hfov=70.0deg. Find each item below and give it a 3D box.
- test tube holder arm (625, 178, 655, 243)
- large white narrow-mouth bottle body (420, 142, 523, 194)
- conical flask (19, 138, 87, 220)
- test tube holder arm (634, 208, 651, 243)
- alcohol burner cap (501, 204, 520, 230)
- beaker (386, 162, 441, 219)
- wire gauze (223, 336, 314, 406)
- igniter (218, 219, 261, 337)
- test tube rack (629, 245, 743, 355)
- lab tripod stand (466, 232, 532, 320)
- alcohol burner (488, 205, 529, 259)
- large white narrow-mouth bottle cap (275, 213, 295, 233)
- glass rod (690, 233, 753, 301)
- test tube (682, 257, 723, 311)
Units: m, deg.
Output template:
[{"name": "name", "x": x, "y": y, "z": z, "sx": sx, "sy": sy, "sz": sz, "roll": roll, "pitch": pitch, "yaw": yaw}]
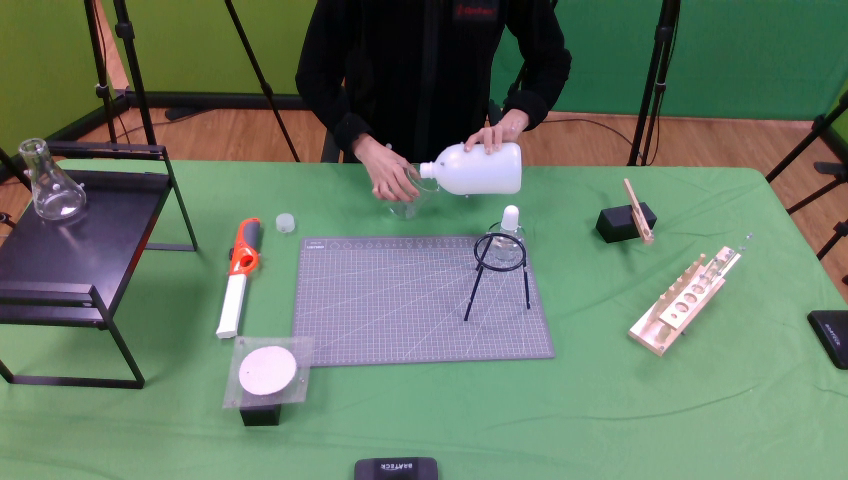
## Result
[{"name": "test tube holder arm", "x": 0.433, "y": -0.062, "z": 1.220, "sx": 0.013, "sy": 0.015, "sz": 0.177, "roll": 1, "pitch": 47, "yaw": -3}, {"name": "large white narrow-mouth bottle body", "x": 0.090, "y": -0.138, "z": 1.169, "sx": 0.194, "sy": 0.102, "sz": 0.101, "roll": -1, "pitch": 46, "yaw": 5}, {"name": "conical flask", "x": -0.576, "y": -0.097, "z": 0.930, "sx": 0.075, "sy": 0.122, "sz": 0.075, "roll": 2, "pitch": 46, "yaw": -2}, {"name": "test tube holder arm", "x": 0.428, "y": -0.030, "z": 1.189, "sx": 0.010, "sy": 0.015, "sz": 0.087, "roll": 1, "pitch": 47, "yaw": -2}, {"name": "alcohol burner cap", "x": 0.164, "y": -0.046, "z": 1.133, "sx": 0.034, "sy": 0.048, "sz": 0.033, "roll": 2, "pitch": 40, "yaw": -1}, {"name": "beaker", "x": -0.024, "y": -0.096, "z": 1.224, "sx": 0.084, "sy": 0.100, "sz": 0.073, "roll": 33, "pitch": 40, "yaw": -11}, {"name": "wire gauze", "x": -0.237, "y": 0.197, "z": 0.931, "sx": 0.121, "sy": 0.011, "sz": 0.124, "roll": 1, "pitch": 45, "yaw": -4}, {"name": "igniter", "x": -0.336, "y": 0.059, "z": 1.111, "sx": 0.057, "sy": 0.025, "sz": 0.274, "roll": -8, "pitch": 46, "yaw": 3}, {"name": "test tube rack", "x": 0.474, "y": 0.095, "z": 1.091, "sx": 0.242, "sy": 0.085, "sz": 0.066, "roll": -34, "pitch": 56, "yaw": -31}, {"name": "lab tripod stand", "x": 0.125, "y": 0.059, "z": 1.065, "sx": 0.148, "sy": 0.132, "sz": 0.147, "roll": 1, "pitch": 45, "yaw": 0}, {"name": "alcohol burner", "x": 0.163, "y": -0.020, "z": 1.158, "sx": 0.078, "sy": 0.120, "sz": 0.077, "roll": 0, "pitch": 47, "yaw": 0}, {"name": "large white narrow-mouth bottle cap", "x": -0.278, "y": -0.035, "z": 1.213, "sx": 0.038, "sy": 0.024, "sz": 0.037, "roll": 3, "pitch": 46, "yaw": -3}, {"name": "glass rod", "x": 0.507, "y": 0.053, "z": 1.041, "sx": 0.008, "sy": 0.200, "sz": 0.008, "roll": 5, "pitch": 51, "yaw": -6}, {"name": "test tube", "x": 0.475, "y": 0.080, "z": 1.037, "sx": 0.017, "sy": 0.151, "sz": 0.017, "roll": 1, "pitch": 51, "yaw": -1}]
